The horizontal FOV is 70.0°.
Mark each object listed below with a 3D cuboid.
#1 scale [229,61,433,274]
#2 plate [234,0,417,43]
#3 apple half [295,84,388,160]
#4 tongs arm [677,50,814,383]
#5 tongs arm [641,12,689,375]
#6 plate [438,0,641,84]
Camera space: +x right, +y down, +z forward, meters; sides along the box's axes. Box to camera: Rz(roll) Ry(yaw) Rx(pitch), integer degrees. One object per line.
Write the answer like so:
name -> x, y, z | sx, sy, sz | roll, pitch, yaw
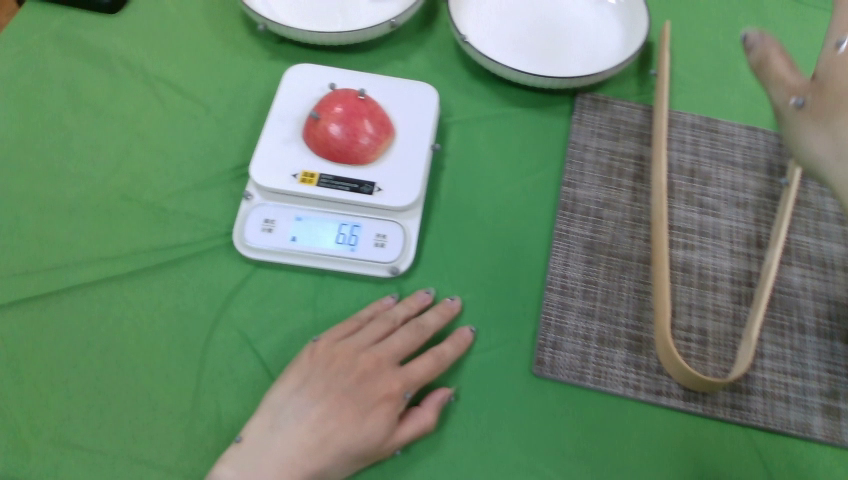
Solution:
scale -> -0.075, -0.070, 0.527 | 0.148, 0.032, 0.199 | 8, 60, 1
plate -> -0.102, -0.280, 0.645 | 0.208, 0.039, 0.206 | 2, 60, -2
apple half -> -0.069, -0.106, 0.514 | 0.081, 0.033, 0.080 | 1, 59, -2
tongs arm -> 0.291, -0.043, 0.531 | 0.050, 0.027, 0.383 | 23, 62, 9
tongs arm -> 0.211, -0.068, 0.542 | 0.028, 0.028, 0.384 | 12, 60, -1
plate -> 0.118, -0.236, 0.633 | 0.209, 0.038, 0.207 | 2, 59, -3
